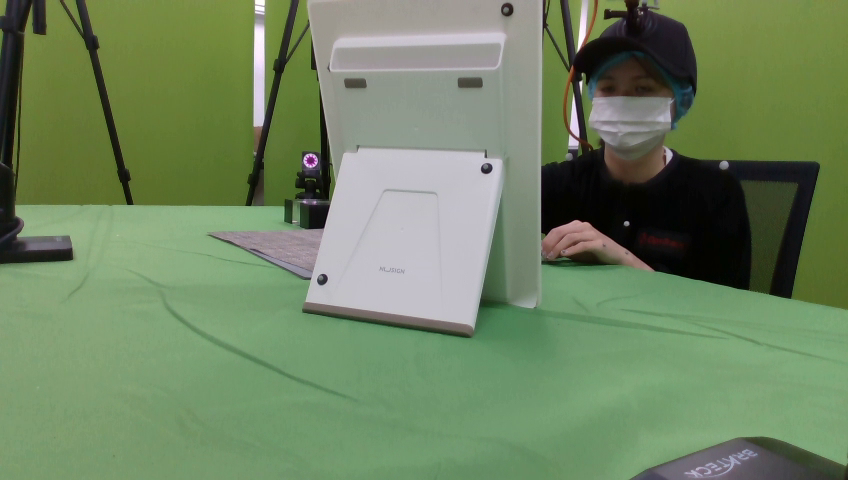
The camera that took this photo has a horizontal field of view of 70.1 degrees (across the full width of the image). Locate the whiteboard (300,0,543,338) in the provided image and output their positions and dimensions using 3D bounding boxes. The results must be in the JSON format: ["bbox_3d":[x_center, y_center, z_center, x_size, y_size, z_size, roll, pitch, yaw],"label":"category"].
[{"bbox_3d":[-0.020,-0.050,0.523,0.216,0.305,0.144,6,27,22],"label":"whiteboard"}]

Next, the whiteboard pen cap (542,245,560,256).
[{"bbox_3d":[0.187,0.015,0.907,0.033,0.018,0.018,-2,6,20],"label":"whiteboard pen cap"}]

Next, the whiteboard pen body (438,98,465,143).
[{"bbox_3d":[0.028,-0.125,0.632,0.017,0.017,0.141,4,28,9],"label":"whiteboard pen body"}]
